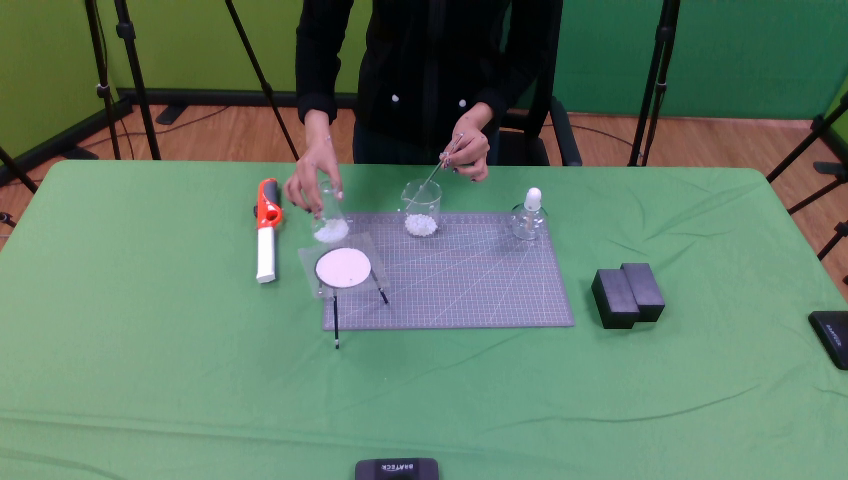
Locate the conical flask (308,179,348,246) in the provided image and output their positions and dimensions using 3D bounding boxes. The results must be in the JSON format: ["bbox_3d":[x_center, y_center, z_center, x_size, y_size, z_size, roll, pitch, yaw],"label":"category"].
[{"bbox_3d":[-0.177,-0.055,1.105,0.075,0.122,0.075,4,45,-3],"label":"conical flask"}]

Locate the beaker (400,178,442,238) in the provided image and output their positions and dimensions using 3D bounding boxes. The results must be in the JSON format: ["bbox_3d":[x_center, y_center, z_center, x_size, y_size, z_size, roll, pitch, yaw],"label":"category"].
[{"bbox_3d":[-0.009,-0.059,1.200,0.084,0.101,0.073,-14,48,-17],"label":"beaker"}]

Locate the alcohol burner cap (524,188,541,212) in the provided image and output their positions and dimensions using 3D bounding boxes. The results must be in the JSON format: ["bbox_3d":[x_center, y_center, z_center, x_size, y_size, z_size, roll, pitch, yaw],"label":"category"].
[{"bbox_3d":[0.212,-0.081,1.177,0.034,0.048,0.033,-2,54,2],"label":"alcohol burner cap"}]

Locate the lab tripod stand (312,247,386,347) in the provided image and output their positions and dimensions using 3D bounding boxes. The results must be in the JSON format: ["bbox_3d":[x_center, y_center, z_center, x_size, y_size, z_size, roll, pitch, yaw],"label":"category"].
[{"bbox_3d":[-0.134,0.085,1.028,0.148,0.132,0.147,2,45,-1],"label":"lab tripod stand"}]

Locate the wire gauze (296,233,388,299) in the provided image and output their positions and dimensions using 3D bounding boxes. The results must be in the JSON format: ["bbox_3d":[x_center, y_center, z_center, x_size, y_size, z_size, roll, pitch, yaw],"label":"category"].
[{"bbox_3d":[-0.133,0.041,0.977,0.125,0.011,0.120,-12,47,-16],"label":"wire gauze"}]

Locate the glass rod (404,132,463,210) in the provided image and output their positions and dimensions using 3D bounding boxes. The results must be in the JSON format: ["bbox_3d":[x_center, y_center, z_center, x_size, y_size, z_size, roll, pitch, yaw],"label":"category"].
[{"bbox_3d":[0.014,-0.125,1.130,0.008,0.200,0.008,26,35,-20],"label":"glass rod"}]

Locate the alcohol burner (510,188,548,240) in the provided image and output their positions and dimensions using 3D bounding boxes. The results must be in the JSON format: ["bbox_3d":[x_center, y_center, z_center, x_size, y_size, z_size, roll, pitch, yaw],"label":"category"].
[{"bbox_3d":[0.211,-0.057,1.204,0.078,0.120,0.077,1,47,-1],"label":"alcohol burner"}]

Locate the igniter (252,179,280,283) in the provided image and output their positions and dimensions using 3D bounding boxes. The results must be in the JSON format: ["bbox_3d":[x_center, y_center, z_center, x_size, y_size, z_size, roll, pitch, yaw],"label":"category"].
[{"bbox_3d":[-0.313,-0.027,1.197,0.057,0.025,0.274,-12,47,-1],"label":"igniter"}]
